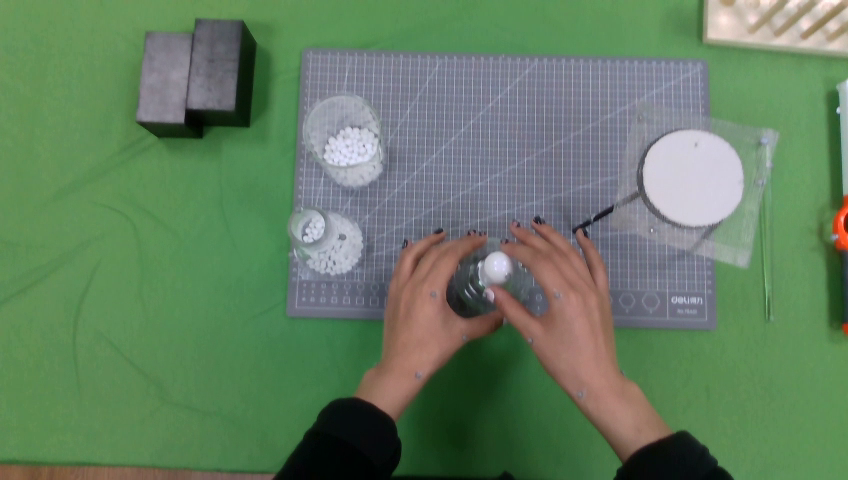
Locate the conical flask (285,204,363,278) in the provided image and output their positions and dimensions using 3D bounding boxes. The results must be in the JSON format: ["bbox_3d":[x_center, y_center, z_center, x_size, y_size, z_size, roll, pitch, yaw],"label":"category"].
[{"bbox_3d":[-0.102,-0.005,0.587,0.075,0.122,0.075,0,82,0],"label":"conical flask"}]

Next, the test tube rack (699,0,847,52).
[{"bbox_3d":[0.431,-0.252,0.640,0.242,0.085,0.066,5,82,1],"label":"test tube rack"}]

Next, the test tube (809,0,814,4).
[{"bbox_3d":[0.415,-0.275,0.593,0.017,0.150,0.017,0,82,3],"label":"test tube"}]

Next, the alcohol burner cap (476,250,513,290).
[{"bbox_3d":[0.066,0.025,0.551,0.034,0.048,0.033,1,74,-2],"label":"alcohol burner cap"}]

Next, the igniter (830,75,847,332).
[{"bbox_3d":[0.456,-0.040,0.642,0.057,0.025,0.275,5,82,-9],"label":"igniter"}]

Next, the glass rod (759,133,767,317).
[{"bbox_3d":[0.363,-0.017,0.648,0.008,0.008,0.199,3,85,0],"label":"glass rod"}]

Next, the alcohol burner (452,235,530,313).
[{"bbox_3d":[0.066,0.032,0.587,0.078,0.119,0.077,0,83,3],"label":"alcohol burner"}]

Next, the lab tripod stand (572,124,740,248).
[{"bbox_3d":[0.226,-0.045,0.586,0.148,0.132,0.148,0,84,1],"label":"lab tripod stand"}]

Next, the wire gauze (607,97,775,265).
[{"bbox_3d":[0.228,-0.053,0.519,0.125,0.011,0.121,16,84,3],"label":"wire gauze"}]

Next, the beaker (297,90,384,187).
[{"bbox_3d":[-0.076,-0.095,0.610,0.084,0.100,0.074,38,84,5],"label":"beaker"}]
